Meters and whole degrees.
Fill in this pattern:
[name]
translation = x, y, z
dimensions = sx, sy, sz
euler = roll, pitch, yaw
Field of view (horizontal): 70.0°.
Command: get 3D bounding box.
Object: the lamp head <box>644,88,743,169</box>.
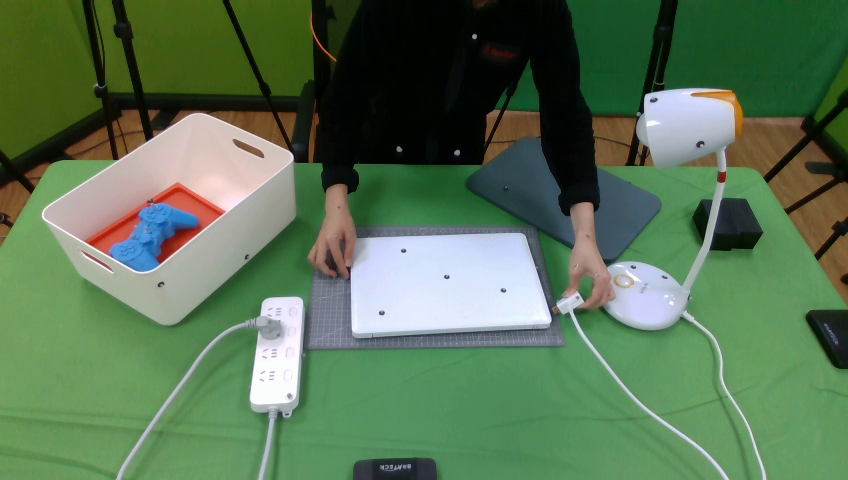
[lamp head]
translation = 0.380, -0.161, 0.851
dimensions = 0.122, 0.113, 0.112
euler = -4, 42, 25

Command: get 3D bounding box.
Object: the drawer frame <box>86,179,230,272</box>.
[drawer frame]
translation = -0.453, 0.010, 1.100
dimensions = 0.201, 0.083, 0.213
euler = 28, 54, 23

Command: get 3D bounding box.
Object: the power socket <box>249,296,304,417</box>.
[power socket]
translation = -0.239, 0.182, 0.996
dimensions = 0.072, 0.033, 0.225
euler = -2, 47, -5

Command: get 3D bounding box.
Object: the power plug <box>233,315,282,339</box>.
[power plug]
translation = -0.271, 0.144, 1.000
dimensions = 0.072, 0.053, 0.035
euler = 5, 47, 3

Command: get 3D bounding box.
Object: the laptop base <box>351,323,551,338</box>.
[laptop base]
translation = 0.040, 0.080, 1.125
dimensions = 0.355, 0.023, 0.234
euler = -2, 43, -6

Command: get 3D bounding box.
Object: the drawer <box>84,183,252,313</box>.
[drawer]
translation = -0.457, 0.008, 1.099
dimensions = 0.194, 0.073, 0.211
euler = 29, 49, 21

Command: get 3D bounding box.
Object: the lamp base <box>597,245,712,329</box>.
[lamp base]
translation = 0.418, 0.051, 1.071
dimensions = 0.179, 0.181, 0.160
euler = 22, 49, 13

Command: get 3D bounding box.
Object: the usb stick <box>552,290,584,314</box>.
[usb stick]
translation = 0.256, 0.115, 1.085
dimensions = 0.021, 0.059, 0.027
euler = 56, 18, -5

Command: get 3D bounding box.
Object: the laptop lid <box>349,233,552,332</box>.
[laptop lid]
translation = 0.040, 0.070, 1.119
dimensions = 0.357, 0.013, 0.240
euler = -1, 44, -5

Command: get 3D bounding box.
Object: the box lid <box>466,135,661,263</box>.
[box lid]
translation = 0.306, -0.102, 1.327
dimensions = 0.370, 0.015, 0.263
euler = 32, 52, 25

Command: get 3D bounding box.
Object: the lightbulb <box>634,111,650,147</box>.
[lightbulb]
translation = 0.348, -0.163, 0.852
dimensions = 0.059, 0.060, 0.107
euler = -36, 19, -32

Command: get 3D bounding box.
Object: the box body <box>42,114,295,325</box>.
[box body]
translation = -0.437, -0.046, 1.110
dimensions = 0.253, 0.161, 0.363
euler = 24, 49, 19

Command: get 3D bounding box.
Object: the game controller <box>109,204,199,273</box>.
[game controller]
translation = -0.467, -0.004, 1.044
dimensions = 0.097, 0.052, 0.154
euler = 9, 46, 9
